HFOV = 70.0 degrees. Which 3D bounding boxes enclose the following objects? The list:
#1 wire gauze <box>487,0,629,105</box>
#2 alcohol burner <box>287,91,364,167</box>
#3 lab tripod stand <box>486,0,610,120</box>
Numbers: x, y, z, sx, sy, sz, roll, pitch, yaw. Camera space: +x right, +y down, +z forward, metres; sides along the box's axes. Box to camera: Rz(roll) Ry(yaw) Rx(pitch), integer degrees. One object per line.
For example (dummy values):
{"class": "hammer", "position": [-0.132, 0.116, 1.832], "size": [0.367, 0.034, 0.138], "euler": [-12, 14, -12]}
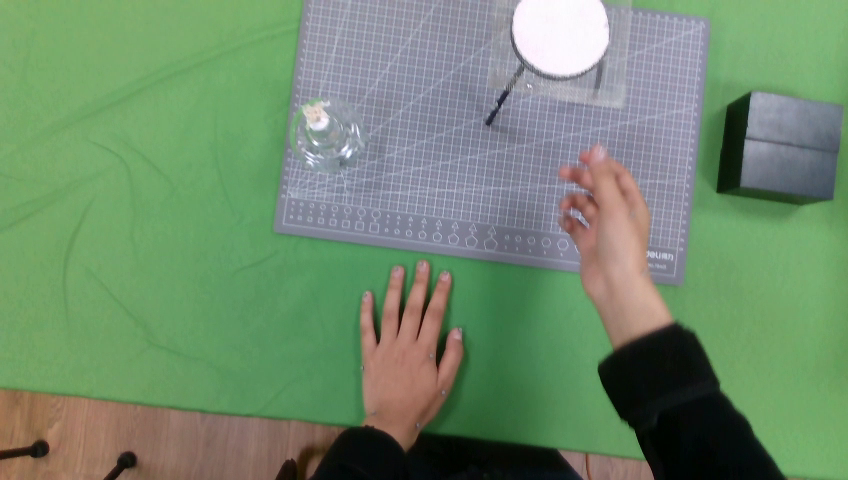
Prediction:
{"class": "wire gauze", "position": [0.121, -0.187, 0.536], "size": [0.125, 0.011, 0.121], "euler": [7, 87, 0]}
{"class": "alcohol burner", "position": [-0.100, -0.114, 0.603], "size": [0.078, 0.119, 0.078], "euler": [0, 89, -1]}
{"class": "lab tripod stand", "position": [0.118, -0.189, 0.603], "size": [0.148, 0.131, 0.148], "euler": [0, 87, 0]}
